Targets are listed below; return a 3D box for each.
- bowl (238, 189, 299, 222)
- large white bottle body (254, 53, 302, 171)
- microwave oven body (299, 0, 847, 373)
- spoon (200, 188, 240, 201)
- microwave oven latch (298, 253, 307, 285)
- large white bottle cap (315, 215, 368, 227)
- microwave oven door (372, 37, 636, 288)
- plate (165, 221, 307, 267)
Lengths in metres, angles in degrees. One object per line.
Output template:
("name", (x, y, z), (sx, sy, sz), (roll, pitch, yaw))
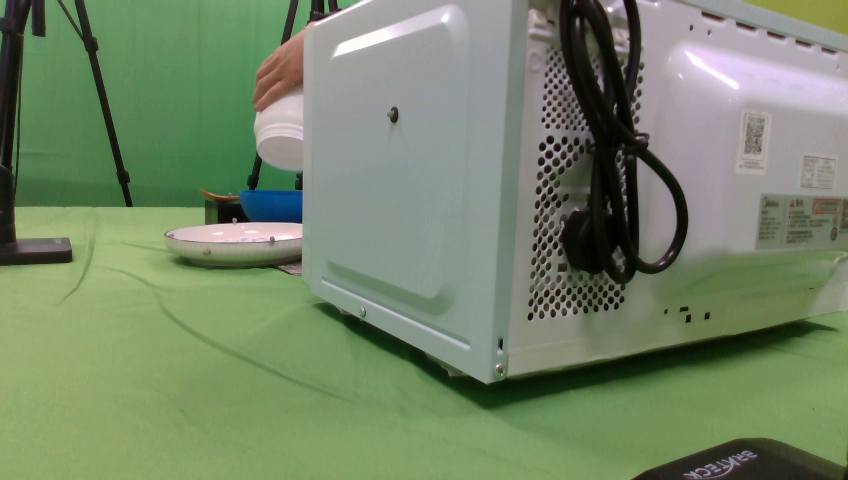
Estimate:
("bowl", (-0.245, -0.045, 1.053), (0.151, 0.077, 0.151), (3, 8, 0))
("large white bottle body", (-0.237, -0.230, 1.101), (0.131, 0.184, 0.131), (1, -27, 1))
("microwave oven body", (0.151, -0.055, 0.542), (0.444, 0.260, 0.324), (-2, 7, -33))
("spoon", (-0.338, -0.080, 1.190), (0.194, 0.021, 0.041), (5, 2, -19))
("microwave oven latch", (-0.081, 0.027, 0.582), (0.079, 0.029, 0.030), (-1, 7, -32))
("large white bottle cap", (-0.178, -0.041, 1.309), (0.115, 0.018, 0.115), (2, 6, 0))
("microwave oven door", (0.110, -0.080, 0.686), (0.358, 0.243, 0.039), (-2, 9, -33))
("plate", (-0.241, 0.004, 0.829), (0.209, 0.038, 0.209), (0, 9, 0))
